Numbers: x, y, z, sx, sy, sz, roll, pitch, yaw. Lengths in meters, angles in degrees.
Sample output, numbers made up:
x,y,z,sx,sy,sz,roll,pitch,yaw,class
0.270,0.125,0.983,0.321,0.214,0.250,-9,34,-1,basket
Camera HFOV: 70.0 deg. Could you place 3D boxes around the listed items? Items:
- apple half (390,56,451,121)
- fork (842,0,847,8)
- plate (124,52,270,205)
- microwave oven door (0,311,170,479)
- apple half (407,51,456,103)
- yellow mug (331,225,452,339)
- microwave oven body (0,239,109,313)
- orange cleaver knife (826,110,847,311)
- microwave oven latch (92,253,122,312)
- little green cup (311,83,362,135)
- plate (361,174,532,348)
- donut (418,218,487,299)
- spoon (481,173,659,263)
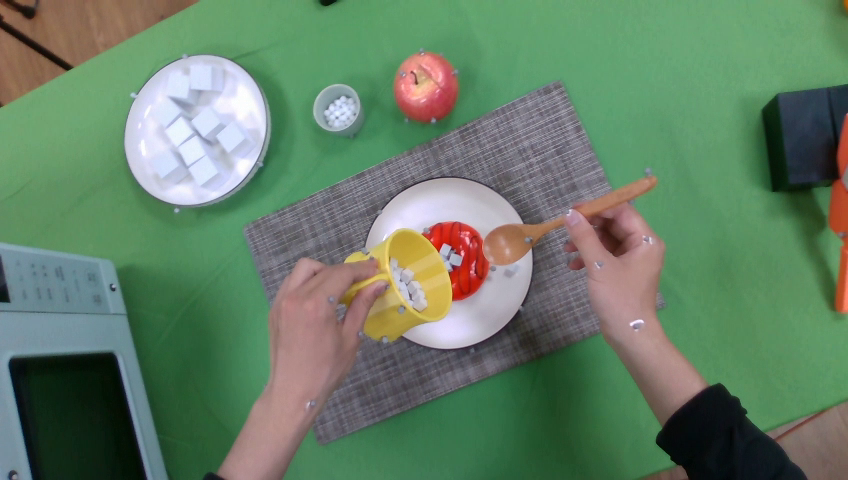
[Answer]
x,y,z,sx,sy,sz,roll,pitch,yaw,class
-0.011,-0.178,0.748,0.053,0.075,0.080,-44,81,7,apple half
0.544,-0.303,0.619,0.207,0.019,0.028,-25,72,51,fork
-0.301,-0.147,0.816,0.207,0.039,0.207,-1,83,11,plate
-0.373,0.249,0.660,0.039,0.245,0.354,-21,80,7,microwave oven door
0.017,-0.206,0.745,0.033,0.081,0.081,-44,77,6,apple half
-0.037,0.043,0.598,0.064,0.131,0.099,-27,76,33,yellow mug
-0.521,0.261,0.692,0.326,0.261,0.440,-21,81,7,microwave oven body
0.442,-0.027,0.638,0.012,0.077,0.213,-4,114,12,orange cleaver knife
-0.423,0.058,0.796,0.030,0.029,0.079,-18,81,7,microwave oven latch
-0.110,-0.166,0.783,0.061,0.039,0.061,-1,83,11,little green cup
0.026,0.025,0.731,0.209,0.038,0.208,-1,83,11,plate
0.025,0.023,0.720,0.099,0.048,0.099,-1,84,11,donut
0.130,-0.019,0.570,0.193,0.022,0.041,-25,85,44,spoon
